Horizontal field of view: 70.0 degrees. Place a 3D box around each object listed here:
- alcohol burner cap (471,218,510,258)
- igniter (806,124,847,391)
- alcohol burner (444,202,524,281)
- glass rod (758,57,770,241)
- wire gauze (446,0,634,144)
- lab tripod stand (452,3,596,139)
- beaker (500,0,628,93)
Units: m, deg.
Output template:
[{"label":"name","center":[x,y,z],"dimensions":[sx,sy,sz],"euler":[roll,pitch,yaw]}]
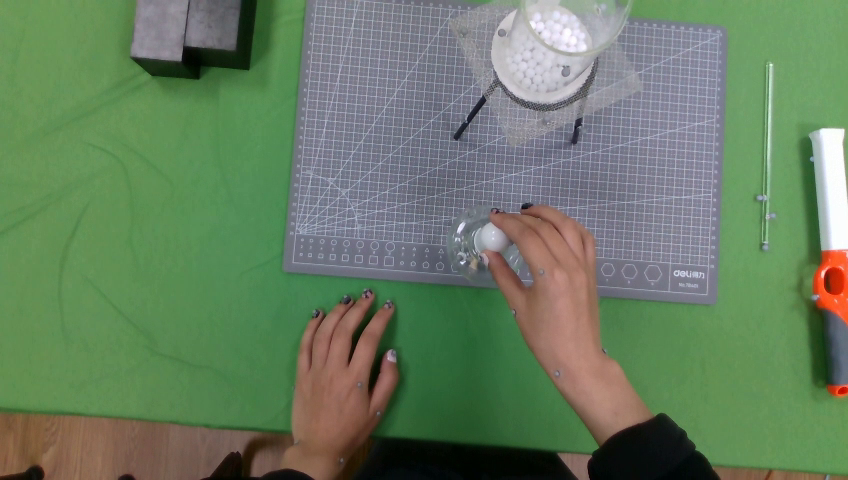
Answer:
[{"label":"alcohol burner cap","center":[0.061,-0.004,0.536],"dimensions":[0.034,0.048,0.033],"euler":[1,80,-4]},{"label":"igniter","center":[0.426,0.017,0.630],"dimensions":[0.057,0.025,0.276],"euler":[-1,86,-12]},{"label":"alcohol burner","center":[0.059,0.000,0.573],"dimensions":[0.078,0.119,0.077],"euler":[0,85,-3]},{"label":"glass rod","center":[0.363,-0.098,0.646],"dimensions":[0.008,0.008,0.199],"euler":[4,86,-2]},{"label":"wire gauze","center":[0.099,-0.157,0.509],"dimensions":[0.125,0.011,0.121],"euler":[-25,91,-5]},{"label":"lab tripod stand","center":[0.096,-0.148,0.574],"dimensions":[0.148,0.131,0.148],"euler":[0,88,-1]},{"label":"beaker","center":[0.101,-0.160,0.461],"dimensions":[0.084,0.100,0.074],"euler":[-17,88,-3]}]
